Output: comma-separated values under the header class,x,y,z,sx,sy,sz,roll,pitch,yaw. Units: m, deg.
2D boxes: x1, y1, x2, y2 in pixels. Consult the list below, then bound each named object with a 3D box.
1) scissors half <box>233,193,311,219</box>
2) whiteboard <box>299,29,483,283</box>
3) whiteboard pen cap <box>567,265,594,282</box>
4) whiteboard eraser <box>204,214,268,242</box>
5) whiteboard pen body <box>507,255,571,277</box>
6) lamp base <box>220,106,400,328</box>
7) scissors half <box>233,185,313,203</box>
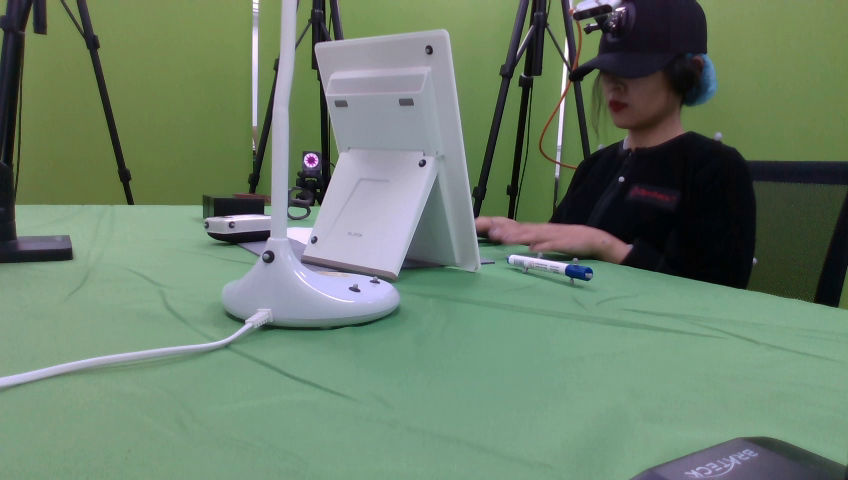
class,x,y,z,sx,sy,sz,roll,pitch,yaw
scissors half,-0.330,-0.078,1.320,0.176,0.040,0.013,16,3,-32
whiteboard,-0.074,-0.082,0.742,0.216,0.305,0.144,9,29,38
whiteboard pen cap,0.185,0.040,0.722,0.018,0.018,0.033,-2,6,-33
whiteboard eraser,-0.285,-0.019,0.960,0.055,0.042,0.113,9,10,36
whiteboard pen body,0.155,0.034,0.772,0.017,0.017,0.140,-2,7,-31
lamp base,-0.101,-0.023,0.531,0.160,0.180,0.179,4,10,10
scissors half,-0.326,-0.098,1.316,0.176,0.040,0.012,-5,19,-29
